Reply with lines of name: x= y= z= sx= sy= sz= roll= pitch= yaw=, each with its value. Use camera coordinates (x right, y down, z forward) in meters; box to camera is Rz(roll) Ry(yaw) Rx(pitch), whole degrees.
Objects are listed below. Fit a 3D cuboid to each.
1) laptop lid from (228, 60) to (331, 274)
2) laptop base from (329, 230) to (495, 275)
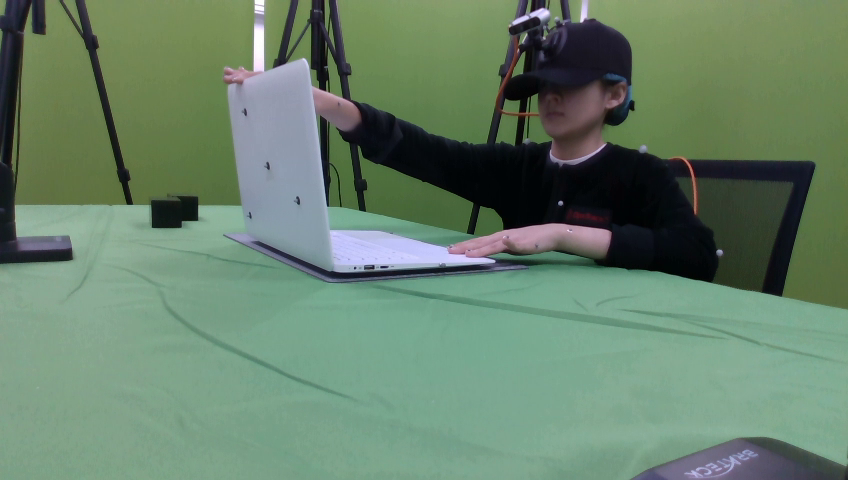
laptop lid: x=-0.202 y=-0.098 z=0.797 sx=0.013 sy=0.241 sz=0.355 roll=-10 pitch=14 yaw=-30
laptop base: x=-0.093 y=0.016 z=0.884 sx=0.237 sy=0.023 sz=0.352 roll=3 pitch=6 yaw=-33
